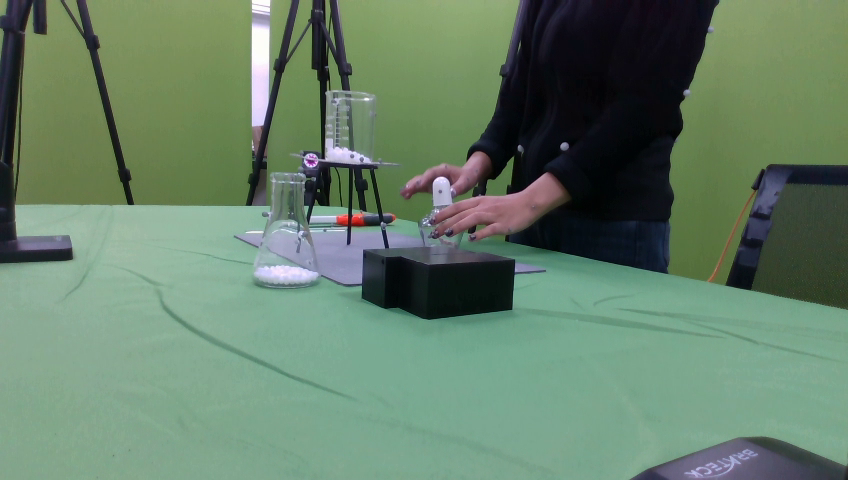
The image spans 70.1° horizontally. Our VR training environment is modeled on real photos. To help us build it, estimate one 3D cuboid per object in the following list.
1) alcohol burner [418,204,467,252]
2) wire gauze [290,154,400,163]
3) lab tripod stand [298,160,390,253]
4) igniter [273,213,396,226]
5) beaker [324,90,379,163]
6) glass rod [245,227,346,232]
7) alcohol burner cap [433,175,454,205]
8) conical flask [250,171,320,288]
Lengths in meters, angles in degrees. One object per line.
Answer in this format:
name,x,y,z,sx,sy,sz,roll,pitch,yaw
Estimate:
alcohol burner,0.029,-0.042,0.954,0.078,0.119,0.078,0,6,0
wire gauze,-0.112,-0.114,0.883,0.124,0.011,0.122,5,5,28
lab tripod stand,-0.111,-0.050,0.893,0.148,0.131,0.148,4,6,0
igniter,-0.179,-0.044,1.258,0.278,0.025,0.057,-3,-1,-39
beaker,-0.110,-0.162,0.879,0.083,0.100,0.074,7,7,36
glass rod,-0.236,-0.021,1.140,0.201,0.008,0.008,-2,8,-33
alcohol burner cap,0.028,-0.078,0.949,0.034,0.048,0.034,-8,5,1
conical flask,-0.150,-0.013,0.658,0.075,0.122,0.075,2,7,0
